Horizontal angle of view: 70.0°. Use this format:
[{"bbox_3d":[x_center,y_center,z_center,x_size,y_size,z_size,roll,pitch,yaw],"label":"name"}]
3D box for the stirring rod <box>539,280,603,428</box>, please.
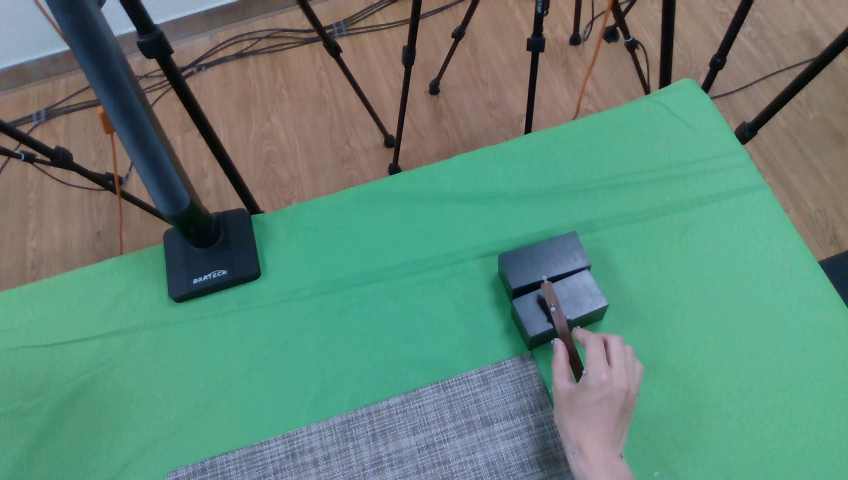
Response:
[{"bbox_3d":[0.166,0.128,0.685,0.014,0.006,0.176,-20,87,8],"label":"stirring rod"}]
